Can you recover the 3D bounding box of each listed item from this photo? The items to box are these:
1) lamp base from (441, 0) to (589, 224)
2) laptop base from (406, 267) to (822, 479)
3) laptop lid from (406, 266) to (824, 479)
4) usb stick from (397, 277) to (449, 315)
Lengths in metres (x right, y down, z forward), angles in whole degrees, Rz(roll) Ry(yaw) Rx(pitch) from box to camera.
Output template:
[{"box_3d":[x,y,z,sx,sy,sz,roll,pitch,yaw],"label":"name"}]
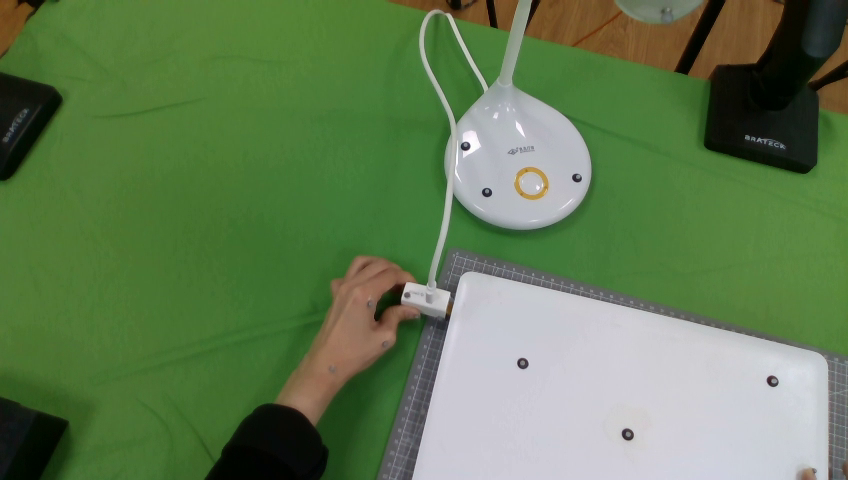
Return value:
[{"box_3d":[0.094,-0.132,0.591,0.161,0.181,0.177,-21,65,-11],"label":"lamp base"},{"box_3d":[0.176,0.170,0.548,0.354,0.023,0.234,13,70,4],"label":"laptop base"},{"box_3d":[0.175,0.168,0.537,0.356,0.013,0.240,15,69,5],"label":"laptop lid"},{"box_3d":[0.004,0.056,0.580,0.059,0.027,0.021,15,61,2],"label":"usb stick"}]
